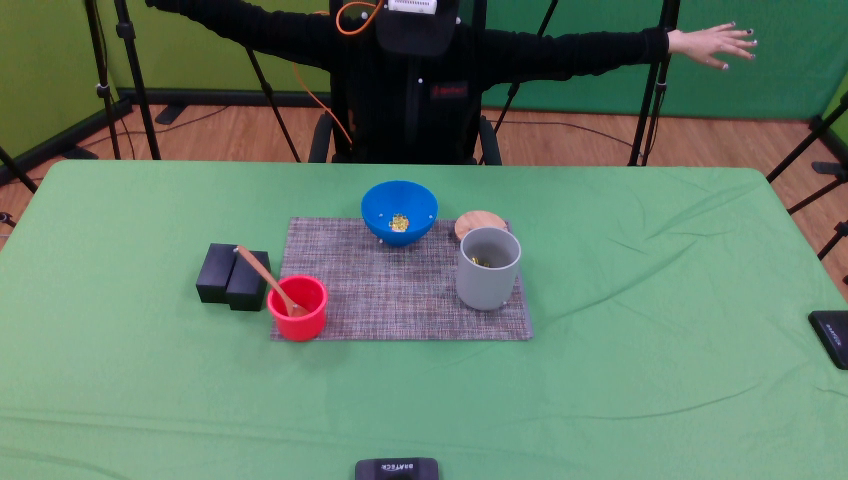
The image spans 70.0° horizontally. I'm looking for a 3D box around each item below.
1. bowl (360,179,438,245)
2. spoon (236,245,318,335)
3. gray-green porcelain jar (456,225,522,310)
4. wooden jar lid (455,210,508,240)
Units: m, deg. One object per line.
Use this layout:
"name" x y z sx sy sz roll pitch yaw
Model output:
"bowl" -0.049 -0.042 1.190 0.151 0.077 0.150 2 46 -2
"spoon" -0.245 0.082 1.011 0.194 0.021 0.041 55 52 -15
"gray-green porcelain jar" 0.111 0.054 1.076 0.106 0.127 0.105 2 46 -2
"wooden jar lid" 0.115 -0.018 1.220 0.108 0.021 0.107 3 47 -3
